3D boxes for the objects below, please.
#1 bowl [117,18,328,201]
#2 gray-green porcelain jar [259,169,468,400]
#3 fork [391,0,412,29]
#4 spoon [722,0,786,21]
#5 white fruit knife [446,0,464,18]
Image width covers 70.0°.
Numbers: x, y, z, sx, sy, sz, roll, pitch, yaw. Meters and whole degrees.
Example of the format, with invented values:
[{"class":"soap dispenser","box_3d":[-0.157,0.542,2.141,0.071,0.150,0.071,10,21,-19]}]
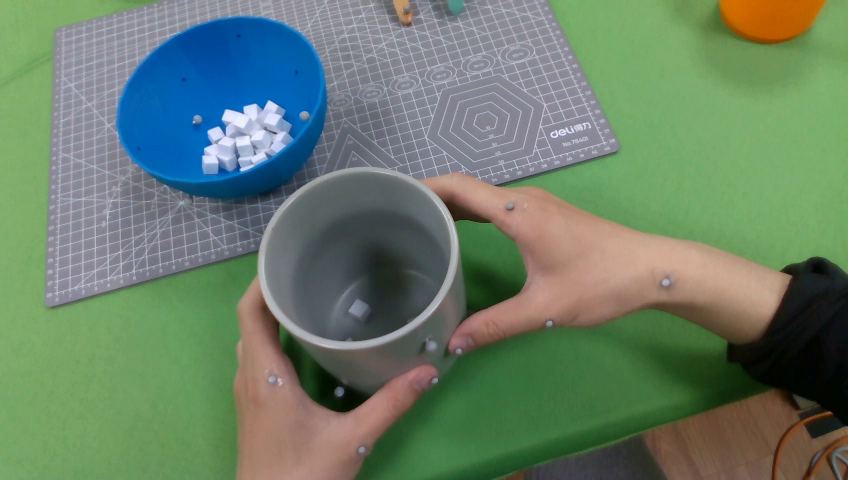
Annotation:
[{"class":"bowl","box_3d":[-0.139,-0.085,0.461,0.151,0.077,0.150,-2,63,5]},{"class":"gray-green porcelain jar","box_3d":[-0.027,0.035,0.365,0.106,0.127,0.105,-3,63,5]},{"class":"fork","box_3d":[-0.047,-0.287,0.551,0.028,0.018,0.206,-18,81,-8]},{"class":"spoon","box_3d":[0.318,-0.228,0.447,0.022,0.193,0.041,11,60,-39]},{"class":"white fruit knife","box_3d":[0.001,-0.299,0.554,0.016,0.027,0.206,-16,76,-3]}]
